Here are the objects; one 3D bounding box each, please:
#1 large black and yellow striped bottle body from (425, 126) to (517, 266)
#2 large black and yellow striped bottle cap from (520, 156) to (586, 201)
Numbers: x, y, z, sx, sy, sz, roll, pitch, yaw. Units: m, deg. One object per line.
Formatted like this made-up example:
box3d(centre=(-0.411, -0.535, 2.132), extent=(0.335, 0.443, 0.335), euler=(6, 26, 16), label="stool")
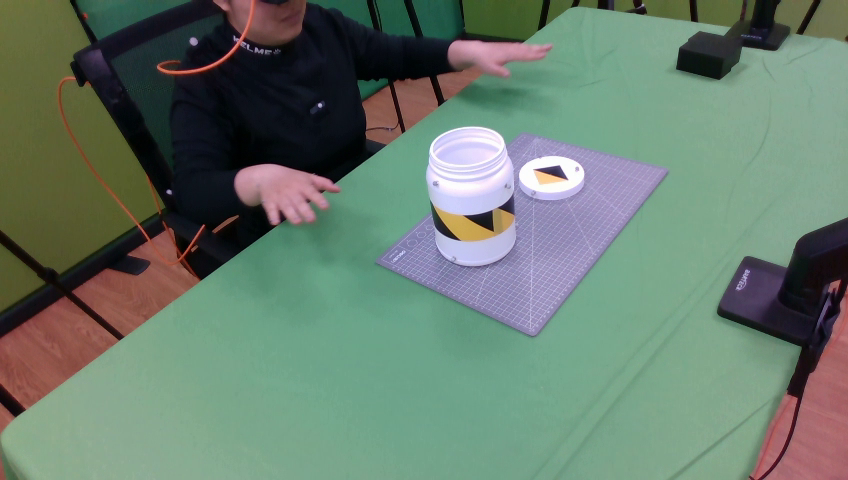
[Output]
box3d(centre=(0.072, -0.066, 0.917), extent=(0.131, 0.185, 0.130), euler=(-5, 40, 5), label="large black and yellow striped bottle body")
box3d(centre=(0.228, -0.111, 1.072), extent=(0.115, 0.019, 0.114), euler=(-6, 40, 6), label="large black and yellow striped bottle cap")
